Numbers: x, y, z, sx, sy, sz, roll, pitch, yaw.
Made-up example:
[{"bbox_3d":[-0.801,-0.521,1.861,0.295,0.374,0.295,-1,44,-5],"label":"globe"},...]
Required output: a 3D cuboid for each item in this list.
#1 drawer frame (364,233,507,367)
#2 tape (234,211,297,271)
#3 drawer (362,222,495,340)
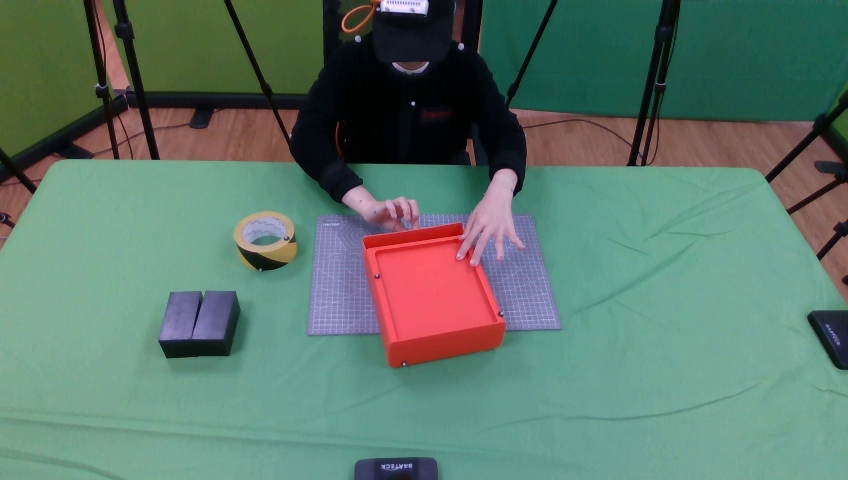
[{"bbox_3d":[0.013,0.098,1.058,0.202,0.083,0.212,-9,48,-13],"label":"drawer frame"},{"bbox_3d":[-0.301,0.002,1.154,0.117,0.053,0.116,1,46,-1],"label":"tape"},{"bbox_3d":[0.003,0.074,1.082,0.195,0.073,0.210,-8,48,-13],"label":"drawer"}]
